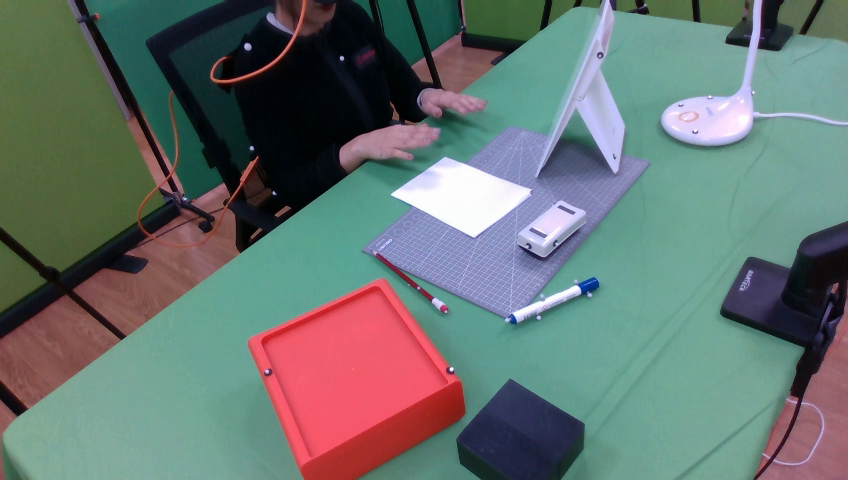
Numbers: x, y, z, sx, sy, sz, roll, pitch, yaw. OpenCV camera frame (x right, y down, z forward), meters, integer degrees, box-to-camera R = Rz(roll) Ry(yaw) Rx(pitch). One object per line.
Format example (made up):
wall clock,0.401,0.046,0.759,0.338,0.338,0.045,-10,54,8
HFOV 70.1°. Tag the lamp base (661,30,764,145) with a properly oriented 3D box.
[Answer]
lamp base,0.535,-0.287,1.096,0.179,0.181,0.159,-10,40,-4

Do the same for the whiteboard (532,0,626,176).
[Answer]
whiteboard,0.321,-0.258,1.049,0.144,0.306,0.217,21,45,5

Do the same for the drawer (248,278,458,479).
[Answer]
drawer,-0.092,0.167,0.756,0.195,0.073,0.210,-24,43,-18

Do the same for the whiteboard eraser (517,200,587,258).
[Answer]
whiteboard eraser,0.201,-0.016,0.943,0.113,0.042,0.055,-37,46,-29

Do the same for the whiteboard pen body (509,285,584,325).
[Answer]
whiteboard pen body,0.181,0.086,0.845,0.141,0.017,0.017,-21,42,-17

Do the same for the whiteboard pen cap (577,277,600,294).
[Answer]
whiteboard pen cap,0.233,0.066,0.864,0.033,0.018,0.018,-20,41,-17

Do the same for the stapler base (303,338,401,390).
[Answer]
stapler base,-0.096,0.160,0.813,0.131,0.024,0.041,-16,41,-18

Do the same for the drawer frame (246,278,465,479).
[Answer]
drawer frame,-0.088,0.168,0.752,0.202,0.083,0.211,-24,43,-18

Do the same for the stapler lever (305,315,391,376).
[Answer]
stapler lever,-0.100,0.136,0.790,0.118,0.040,0.026,-23,43,-12

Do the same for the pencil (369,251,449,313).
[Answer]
pencil,-0.028,0.060,0.924,0.012,0.012,0.192,-33,46,-25
